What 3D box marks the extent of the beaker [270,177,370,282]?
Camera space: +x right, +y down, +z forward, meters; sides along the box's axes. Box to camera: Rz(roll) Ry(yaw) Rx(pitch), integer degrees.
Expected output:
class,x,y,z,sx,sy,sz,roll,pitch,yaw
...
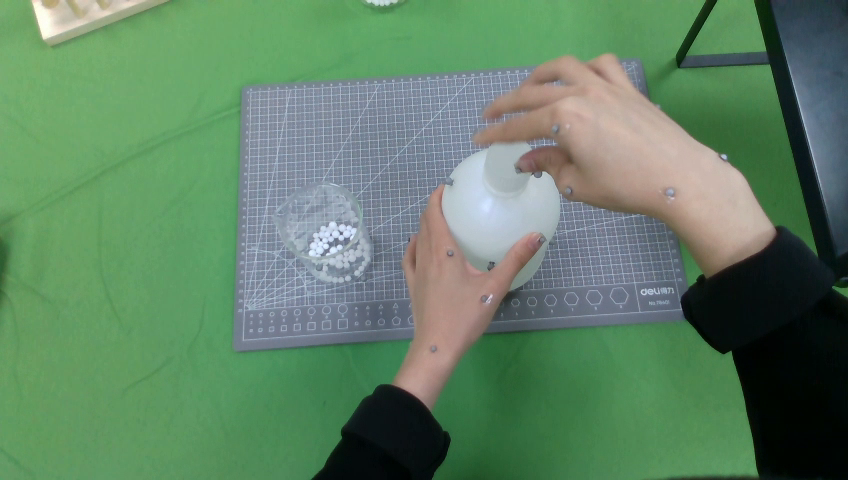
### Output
class,x,y,z,sx,sy,sz,roll,pitch,yaw
beaker,-0.094,-0.005,0.575,0.084,0.101,0.073,7,71,5

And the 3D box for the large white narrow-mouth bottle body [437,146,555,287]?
class,x,y,z,sx,sy,sz,roll,pitch,yaw
large white narrow-mouth bottle body,0.062,-0.026,0.529,0.102,0.196,0.101,-1,72,4

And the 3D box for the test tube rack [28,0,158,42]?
class,x,y,z,sx,sy,sz,roll,pitch,yaw
test tube rack,-0.350,-0.322,0.695,0.242,0.086,0.066,-24,72,-6

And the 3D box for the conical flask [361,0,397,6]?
class,x,y,z,sx,sy,sz,roll,pitch,yaw
conical flask,-0.054,-0.328,0.670,0.075,0.122,0.075,-1,71,2

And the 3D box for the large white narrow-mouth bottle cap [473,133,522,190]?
class,x,y,z,sx,sy,sz,roll,pitch,yaw
large white narrow-mouth bottle cap,0.053,-0.056,0.439,0.038,0.024,0.037,-1,73,4
